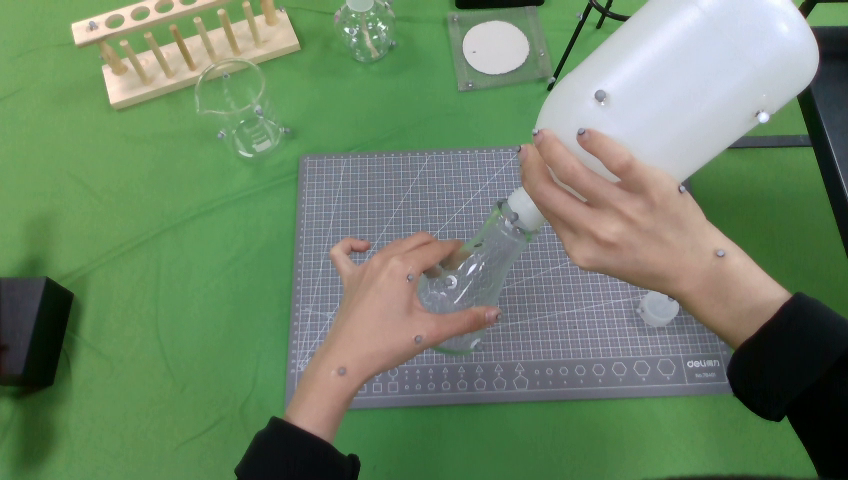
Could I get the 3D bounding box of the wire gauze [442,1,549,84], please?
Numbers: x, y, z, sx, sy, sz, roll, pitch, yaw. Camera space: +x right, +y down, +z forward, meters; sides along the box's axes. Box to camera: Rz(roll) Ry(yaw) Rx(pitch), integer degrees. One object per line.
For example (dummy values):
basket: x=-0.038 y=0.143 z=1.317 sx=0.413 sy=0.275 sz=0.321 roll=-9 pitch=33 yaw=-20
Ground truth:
wire gauze: x=0.091 y=-0.258 z=0.779 sx=0.121 sy=0.011 sz=0.124 roll=-7 pitch=66 yaw=-3

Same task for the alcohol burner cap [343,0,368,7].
alcohol burner cap: x=-0.080 y=-0.300 z=0.704 sx=0.034 sy=0.048 sz=0.033 roll=3 pitch=65 yaw=-7

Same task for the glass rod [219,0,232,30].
glass rod: x=-0.245 y=-0.316 z=0.696 sx=0.008 sy=0.201 sz=0.008 roll=2 pitch=64 yaw=-3

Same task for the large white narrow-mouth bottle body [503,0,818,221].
large white narrow-mouth bottle body: x=0.133 y=-0.082 z=0.390 sx=0.195 sy=0.102 sz=0.101 roll=-41 pitch=67 yaw=22

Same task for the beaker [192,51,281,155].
beaker: x=-0.210 y=-0.149 z=0.687 sx=0.084 sy=0.101 sz=0.073 roll=-42 pitch=71 yaw=-15

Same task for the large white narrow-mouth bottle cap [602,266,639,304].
large white narrow-mouth bottle cap: x=0.207 y=0.048 z=0.638 sx=0.038 sy=0.024 sz=0.037 roll=-1 pitch=66 yaw=3

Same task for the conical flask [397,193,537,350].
conical flask: x=0.036 y=0.020 z=0.457 sx=0.076 sy=0.122 sz=0.074 roll=23 pitch=35 yaw=-17

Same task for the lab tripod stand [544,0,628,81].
lab tripod stand: x=0.218 y=-0.250 z=0.705 sx=0.148 sy=0.132 sz=0.147 roll=0 pitch=65 yaw=-1

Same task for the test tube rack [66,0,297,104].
test tube rack: x=-0.290 y=-0.255 z=0.743 sx=0.242 sy=0.086 sz=0.066 roll=-21 pitch=68 yaw=-8

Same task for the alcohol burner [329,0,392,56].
alcohol burner: x=-0.079 y=-0.283 z=0.736 sx=0.078 sy=0.120 sz=0.077 roll=0 pitch=64 yaw=0
